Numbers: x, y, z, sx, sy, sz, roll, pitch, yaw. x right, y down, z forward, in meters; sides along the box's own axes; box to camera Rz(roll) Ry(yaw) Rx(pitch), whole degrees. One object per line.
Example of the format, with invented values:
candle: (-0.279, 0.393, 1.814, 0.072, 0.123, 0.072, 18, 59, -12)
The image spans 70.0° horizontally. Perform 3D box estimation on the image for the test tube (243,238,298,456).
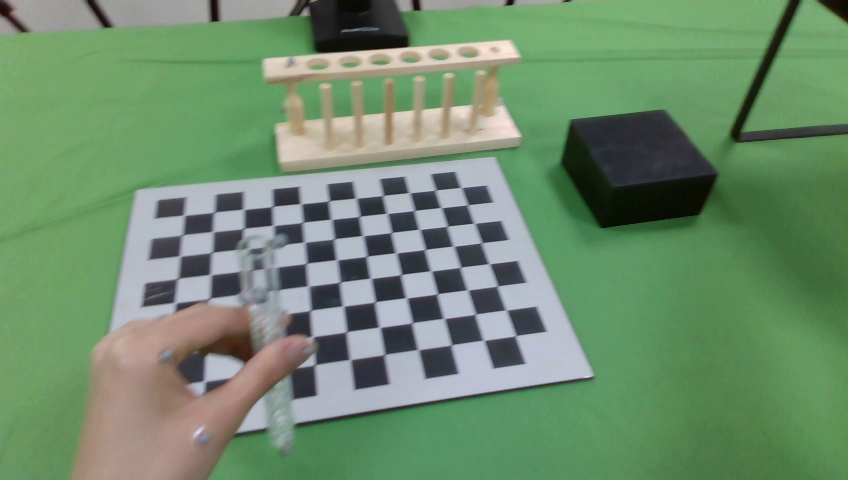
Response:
test tube: (-0.076, 0.062, 0.307, 0.017, 0.151, 0.017, 3, 37, -2)

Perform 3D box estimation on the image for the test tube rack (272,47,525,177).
test tube rack: (-0.020, -0.128, 0.600, 0.243, 0.086, 0.066, -7, 46, -10)
